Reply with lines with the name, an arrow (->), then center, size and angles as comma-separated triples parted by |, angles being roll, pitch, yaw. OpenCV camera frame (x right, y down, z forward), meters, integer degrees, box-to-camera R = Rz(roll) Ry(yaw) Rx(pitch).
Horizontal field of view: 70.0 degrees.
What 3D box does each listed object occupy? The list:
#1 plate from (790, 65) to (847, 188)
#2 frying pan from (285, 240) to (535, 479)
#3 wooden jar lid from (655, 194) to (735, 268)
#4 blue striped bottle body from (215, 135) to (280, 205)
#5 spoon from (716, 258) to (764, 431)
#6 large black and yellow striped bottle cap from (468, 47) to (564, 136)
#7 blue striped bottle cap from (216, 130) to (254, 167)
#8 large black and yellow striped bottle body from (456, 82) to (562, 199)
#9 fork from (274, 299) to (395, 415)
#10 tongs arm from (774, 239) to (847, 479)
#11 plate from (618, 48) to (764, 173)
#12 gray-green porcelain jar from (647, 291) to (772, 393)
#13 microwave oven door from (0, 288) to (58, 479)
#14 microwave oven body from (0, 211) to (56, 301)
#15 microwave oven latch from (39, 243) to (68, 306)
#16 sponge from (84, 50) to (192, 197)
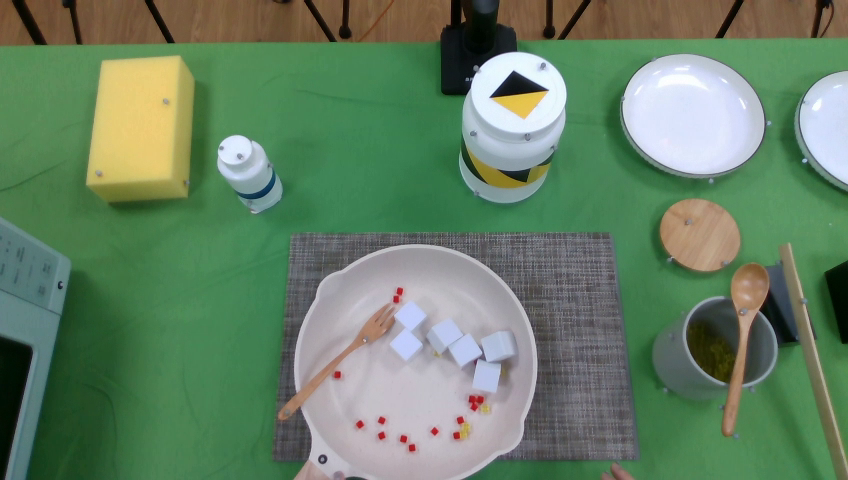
plate -> 0.638, -0.159, 0.883 | 0.209, 0.038, 0.207 | 0, 70, 1
frying pan -> -0.081, 0.213, 0.714 | 0.305, 0.103, 0.487 | 39, 67, 14
wooden jar lid -> 0.374, -0.012, 0.842 | 0.108, 0.021, 0.107 | 0, 71, 1
blue striped bottle body -> -0.241, -0.099, 0.822 | 0.063, 0.121, 0.062 | 0, 69, 1
spoon -> 0.341, 0.112, 0.665 | 0.041, 0.022, 0.193 | 17, 74, 2
large black and yellow striped bottle cap -> 0.110, -0.179, 0.727 | 0.115, 0.019, 0.114 | 0, 71, 1
blue striped bottle cap -> -0.242, -0.118, 0.774 | 0.044, 0.021, 0.044 | 0, 72, 0
large black and yellow striped bottle body -> 0.110, -0.149, 0.806 | 0.131, 0.185, 0.130 | 0, 69, 1
fork -> -0.107, 0.141, 0.750 | 0.028, 0.019, 0.207 | 43, 51, 8
tongs arm -> 0.487, 0.184, 0.724 | 0.051, 0.026, 0.383 | -7, 82, -6
plate -> 0.388, -0.188, 0.896 | 0.208, 0.039, 0.206 | 0, 70, 1
gray-green porcelain jar -> 0.336, 0.129, 0.734 | 0.106, 0.127, 0.105 | 0, 70, 1
microwave oven door -> -0.499, 0.215, 0.626 | 0.039, 0.245, 0.353 | 0, 70, 1
microwave oven body -> -0.645, 0.176, 0.646 | 0.326, 0.262, 0.438 | 0, 70, 0
microwave oven latch -> -0.494, 0.045, 0.795 | 0.030, 0.029, 0.078 | 3, 71, 1
sponge -> -0.411, -0.170, 0.880 | 0.118, 0.061, 0.205 | -5, 71, -2
